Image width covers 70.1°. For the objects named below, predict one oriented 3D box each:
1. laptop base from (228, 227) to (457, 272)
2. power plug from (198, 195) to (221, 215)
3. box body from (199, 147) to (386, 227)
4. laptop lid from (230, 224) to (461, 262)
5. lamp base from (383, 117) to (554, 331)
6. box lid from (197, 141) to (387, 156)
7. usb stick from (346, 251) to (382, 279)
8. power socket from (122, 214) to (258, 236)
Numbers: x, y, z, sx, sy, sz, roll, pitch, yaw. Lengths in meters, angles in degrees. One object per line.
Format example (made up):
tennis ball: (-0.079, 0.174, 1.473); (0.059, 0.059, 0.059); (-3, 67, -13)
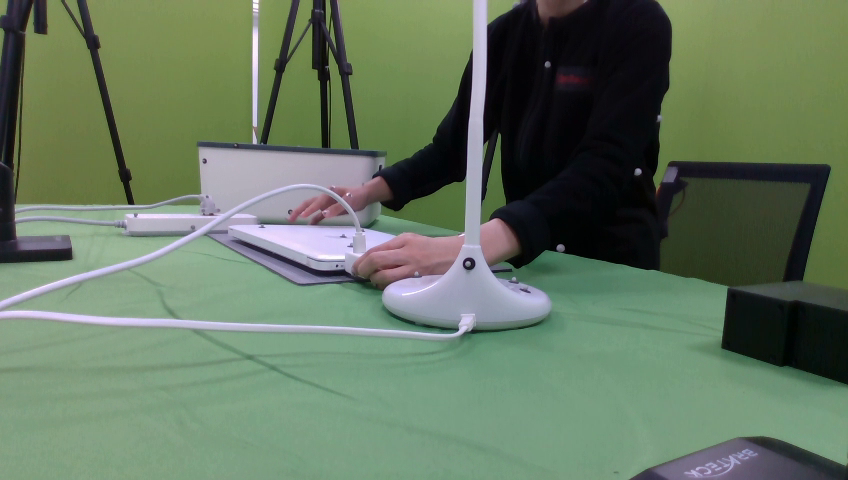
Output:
laptop base: (-0.122, 0.012, 0.888); (0.237, 0.023, 0.352); (2, 6, -35)
power plug: (-0.387, -0.055, 1.089); (0.035, 0.052, 0.072); (-1, 6, -23)
box body: (-0.276, -0.124, 1.335); (0.364, 0.160, 0.254); (3, 7, 1)
laptop lid: (-0.119, 0.000, 0.888); (0.243, 0.013, 0.355); (1, 7, -33)
lamp base: (0.045, -0.019, 0.547); (0.161, 0.180, 0.179); (2, 10, -4)
box lid: (-0.275, -0.198, 1.326); (0.372, 0.015, 0.263); (3, 8, 1)
usb stick: (-0.072, 0.027, 0.687); (0.021, 0.027, 0.059); (-10, 9, -36)
power socket: (-0.399, -0.028, 1.049); (0.228, 0.032, 0.072); (-3, 8, -34)
